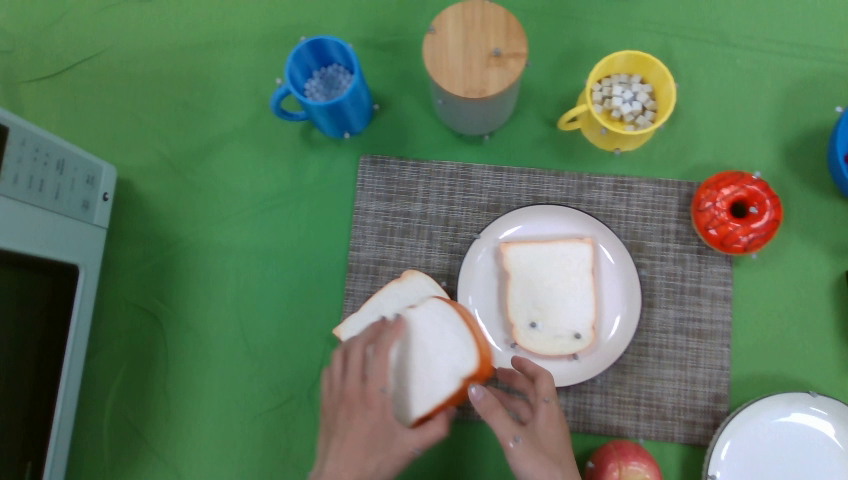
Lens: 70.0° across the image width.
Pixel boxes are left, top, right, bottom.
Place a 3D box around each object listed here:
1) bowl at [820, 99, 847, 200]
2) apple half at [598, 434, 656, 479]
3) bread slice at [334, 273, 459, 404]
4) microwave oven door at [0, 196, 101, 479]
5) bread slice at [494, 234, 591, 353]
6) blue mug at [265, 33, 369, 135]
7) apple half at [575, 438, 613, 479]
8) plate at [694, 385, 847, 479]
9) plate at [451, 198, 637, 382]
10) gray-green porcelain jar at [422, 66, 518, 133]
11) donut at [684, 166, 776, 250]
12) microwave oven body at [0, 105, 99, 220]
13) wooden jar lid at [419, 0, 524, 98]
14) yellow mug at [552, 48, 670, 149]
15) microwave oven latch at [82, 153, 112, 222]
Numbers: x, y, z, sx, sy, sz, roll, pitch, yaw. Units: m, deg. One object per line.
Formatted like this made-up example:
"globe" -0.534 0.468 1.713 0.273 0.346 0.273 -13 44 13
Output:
"bowl" 0.512 -0.095 0.680 0.151 0.077 0.151 0 82 4
"apple half" 0.217 0.249 0.648 0.053 0.075 0.080 -4 79 -1
"bread slice" -0.022 0.106 0.694 0.105 0.019 0.131 39 84 -1
"microwave oven door" -0.430 0.137 0.594 0.039 0.244 0.354 5 81 4
"bread slice" 0.140 0.061 0.694 0.107 0.018 0.134 -6 82 3
"blue mug" -0.128 -0.174 0.712 0.116 0.106 0.082 -21 80 0
"apple half" 0.177 0.253 0.648 0.033 0.081 0.081 -2 81 -2
"plate" 0.395 0.261 0.653 0.209 0.038 0.208 -1 81 4
"plate" 0.134 0.056 0.694 0.207 0.039 0.207 0 82 3
"gray-green porcelain jar" 0.053 -0.187 0.694 0.106 0.127 0.105 0 81 3
"donut" 0.348 -0.037 0.693 0.099 0.048 0.098 0 82 3
"microwave oven body" -0.569 0.082 0.615 0.326 0.261 0.440 5 82 4
"wooden jar lid" 0.049 -0.198 0.633 0.108 0.021 0.108 -1 79 3
"yellow mug" 0.214 -0.159 0.711 0.131 0.064 0.099 -19 81 1
"microwave oven latch" -0.398 -0.063 0.725 0.030 0.029 0.079 9 83 4
